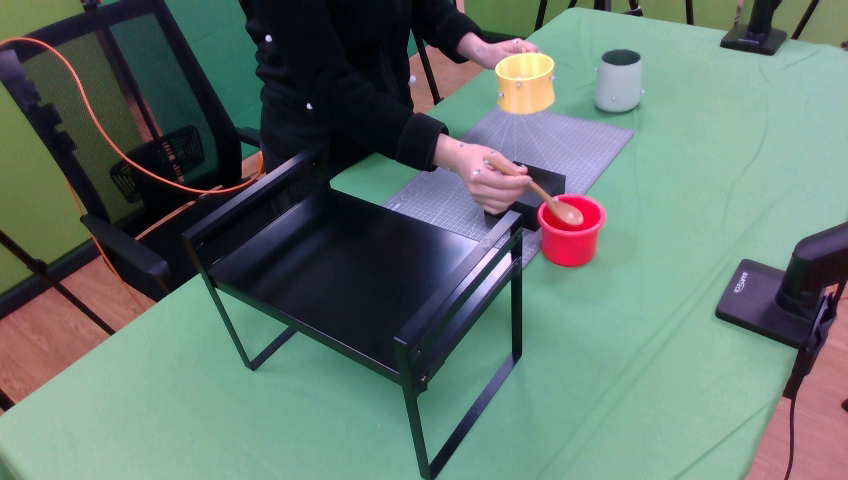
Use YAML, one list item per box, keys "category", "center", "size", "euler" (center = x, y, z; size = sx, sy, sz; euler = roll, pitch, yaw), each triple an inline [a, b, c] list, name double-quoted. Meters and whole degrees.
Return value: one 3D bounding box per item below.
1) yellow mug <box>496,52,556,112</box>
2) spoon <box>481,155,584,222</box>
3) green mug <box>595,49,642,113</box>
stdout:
- category: "yellow mug"
  center: [0.179, -0.285, 1.059]
  size: [0.099, 0.064, 0.130]
  euler: [0, 41, 13]
- category: "spoon"
  center: [0.156, -0.074, 0.854]
  size: [0.021, 0.195, 0.041]
  euler: [-38, 36, 34]
- category: "green mug"
  center: [0.397, -0.333, 1.240]
  size: [0.092, 0.105, 0.125]
  euler: [-3, 41, 7]
